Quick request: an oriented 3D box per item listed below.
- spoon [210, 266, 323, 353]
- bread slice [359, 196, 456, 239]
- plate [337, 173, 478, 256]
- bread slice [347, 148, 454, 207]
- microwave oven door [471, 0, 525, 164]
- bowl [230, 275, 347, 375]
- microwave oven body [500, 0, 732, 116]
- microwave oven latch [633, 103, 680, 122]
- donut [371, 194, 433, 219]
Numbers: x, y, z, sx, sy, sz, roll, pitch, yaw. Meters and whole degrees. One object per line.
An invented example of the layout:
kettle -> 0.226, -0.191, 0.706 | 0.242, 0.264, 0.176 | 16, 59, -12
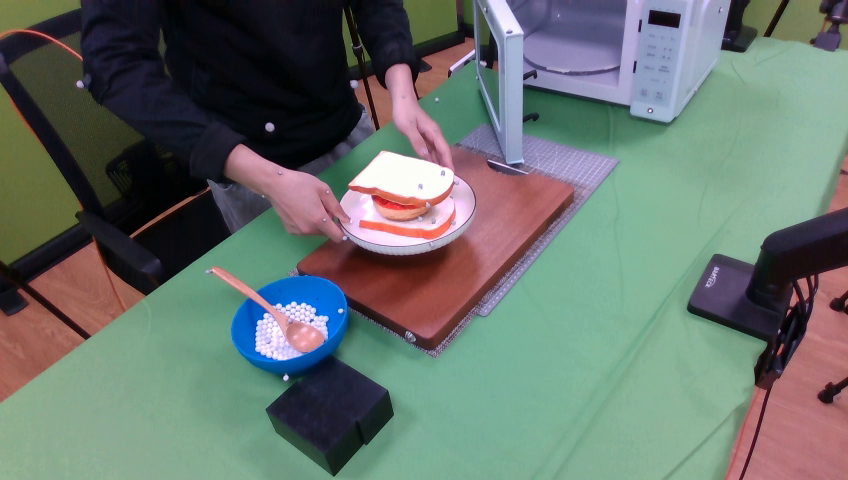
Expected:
spoon -> -0.214, 0.087, 0.806 | 0.193, 0.021, 0.042 | 37, 55, 12
bread slice -> -0.018, -0.044, 0.907 | 0.131, 0.019, 0.105 | 11, 43, 21
plate -> -0.023, -0.041, 0.902 | 0.208, 0.039, 0.206 | -3, 38, 3
bread slice -> -0.026, -0.088, 0.867 | 0.134, 0.018, 0.107 | 15, 41, 14
microwave oven door -> 0.136, -0.342, 1.153 | 0.039, 0.245, 0.353 | -8, 40, -1
bowl -> -0.171, 0.125, 0.802 | 0.151, 0.077, 0.150 | -4, 40, 4
microwave oven body -> 0.377, -0.462, 1.267 | 0.438, 0.261, 0.327 | 21, 49, 30
microwave oven latch -> 0.443, -0.249, 1.157 | 0.078, 0.029, 0.030 | 21, 48, 30
donut -> -0.029, -0.066, 0.889 | 0.099, 0.048, 0.098 | 2, 34, -1
